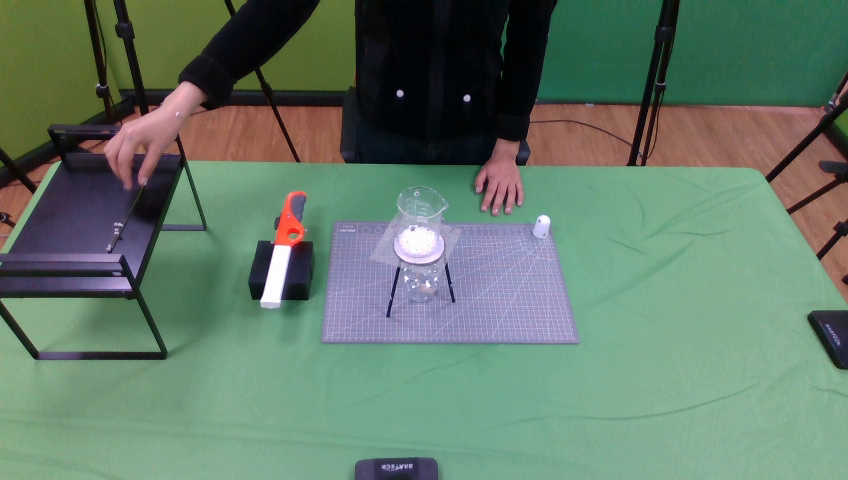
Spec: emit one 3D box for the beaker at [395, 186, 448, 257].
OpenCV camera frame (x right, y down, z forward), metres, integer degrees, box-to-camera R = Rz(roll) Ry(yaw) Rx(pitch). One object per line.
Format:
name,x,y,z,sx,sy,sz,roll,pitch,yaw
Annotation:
beaker,-0.007,-0.027,0.984,0.084,0.101,0.073,1,48,-4

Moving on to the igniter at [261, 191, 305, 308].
igniter,-0.255,0.006,1.104,0.057,0.025,0.275,5,47,-4

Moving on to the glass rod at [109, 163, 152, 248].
glass rod,-0.472,-0.061,0.979,0.008,0.008,0.198,2,46,-3

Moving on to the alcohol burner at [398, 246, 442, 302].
alcohol burner,-0.006,0.055,1.078,0.078,0.119,0.077,3,44,-3

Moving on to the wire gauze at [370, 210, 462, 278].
wire gauze,-0.012,0.007,1.019,0.121,0.011,0.124,16,51,13

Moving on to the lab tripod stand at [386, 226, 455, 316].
lab tripod stand,-0.013,0.054,1.064,0.148,0.132,0.147,2,48,-2

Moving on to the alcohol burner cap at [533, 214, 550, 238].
alcohol burner cap,0.240,-0.031,1.228,0.034,0.048,0.033,1,46,-1
